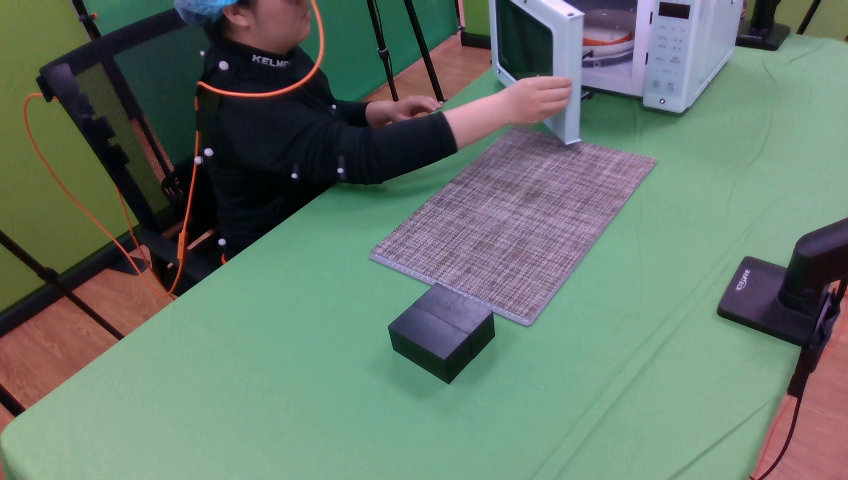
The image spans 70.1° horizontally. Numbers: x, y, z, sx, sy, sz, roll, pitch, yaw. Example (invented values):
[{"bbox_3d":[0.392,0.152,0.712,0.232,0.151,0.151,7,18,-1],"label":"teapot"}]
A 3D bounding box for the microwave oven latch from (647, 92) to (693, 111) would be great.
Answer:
[{"bbox_3d":[0.477,-0.273,1.177,0.078,0.029,0.030,23,51,34],"label":"microwave oven latch"}]

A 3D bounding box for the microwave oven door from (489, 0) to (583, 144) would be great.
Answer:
[{"bbox_3d":[0.213,-0.376,1.192,0.039,0.245,0.353,-18,41,-9],"label":"microwave oven door"}]

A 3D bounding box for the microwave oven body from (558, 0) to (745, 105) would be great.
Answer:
[{"bbox_3d":[0.416,-0.486,1.290,0.438,0.261,0.327,21,50,33],"label":"microwave oven body"}]

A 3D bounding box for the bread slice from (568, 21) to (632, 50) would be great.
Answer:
[{"bbox_3d":[0.394,-0.455,1.343,0.105,0.019,0.130,-36,44,-26],"label":"bread slice"}]
